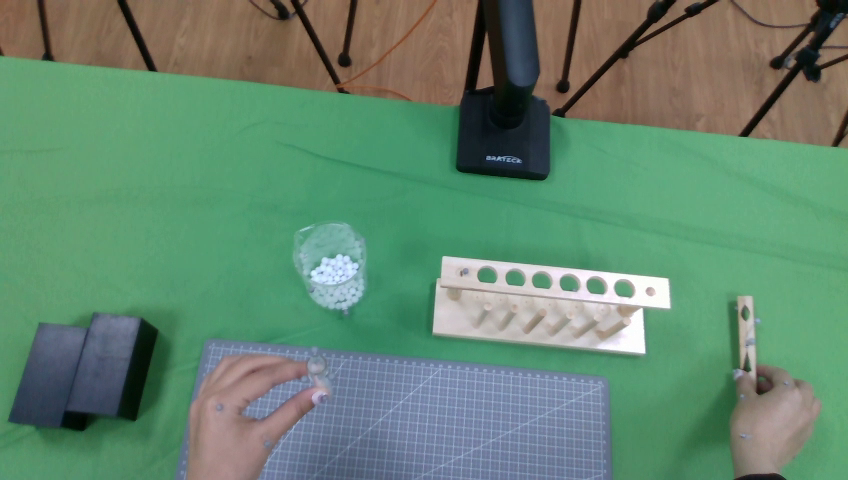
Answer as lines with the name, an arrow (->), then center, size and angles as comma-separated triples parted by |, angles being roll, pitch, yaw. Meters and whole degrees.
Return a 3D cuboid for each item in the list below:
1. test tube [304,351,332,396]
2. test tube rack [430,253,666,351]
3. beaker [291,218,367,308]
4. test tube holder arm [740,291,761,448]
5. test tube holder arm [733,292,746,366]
test tube -> -0.089, 0.116, 0.514 | 0.017, 0.151, 0.017 | 2, 68, -6
test tube rack -> 0.132, 0.071, 0.670 | 0.242, 0.085, 0.066 | 6, 68, -2
beaker -> -0.103, 0.028, 0.662 | 0.083, 0.101, 0.074 | 32, 69, 10
test tube holder arm -> 0.372, 0.145, 0.692 | 0.013, 0.015, 0.177 | -9, 64, 31
test tube holder arm -> 0.372, 0.104, 0.712 | 0.010, 0.015, 0.087 | -7, 64, 32
